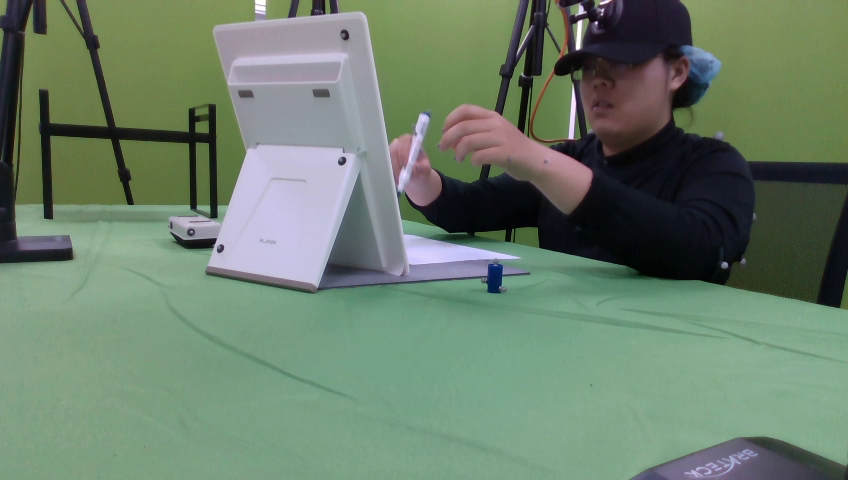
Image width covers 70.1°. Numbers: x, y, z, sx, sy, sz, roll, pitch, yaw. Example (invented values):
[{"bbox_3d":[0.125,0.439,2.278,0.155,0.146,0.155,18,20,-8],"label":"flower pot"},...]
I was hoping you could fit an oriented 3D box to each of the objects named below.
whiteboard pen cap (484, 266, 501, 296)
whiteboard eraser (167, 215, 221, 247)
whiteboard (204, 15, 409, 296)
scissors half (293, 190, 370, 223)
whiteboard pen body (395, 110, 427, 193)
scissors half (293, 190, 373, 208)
[{"bbox_3d":[0.075,0.046,0.668,0.018,0.033,0.018,3,6,0],"label":"whiteboard pen cap"},{"bbox_3d":[-0.350,-0.014,0.920,0.056,0.042,0.112,0,7,-35],"label":"whiteboard eraser"},{"bbox_3d":[-0.166,-0.072,0.669,0.216,0.305,0.144,8,30,30],"label":"whiteboard"},{"bbox_3d":[-0.205,-0.078,1.338,0.175,0.040,0.013,22,11,-8],"label":"scissors half"},{"bbox_3d":[-0.020,-0.129,0.877,0.017,0.140,0.017,15,-22,6],"label":"whiteboard pen body"},{"bbox_3d":[-0.201,-0.096,1.333,0.175,0.040,0.013,5,18,-4],"label":"scissors half"}]
